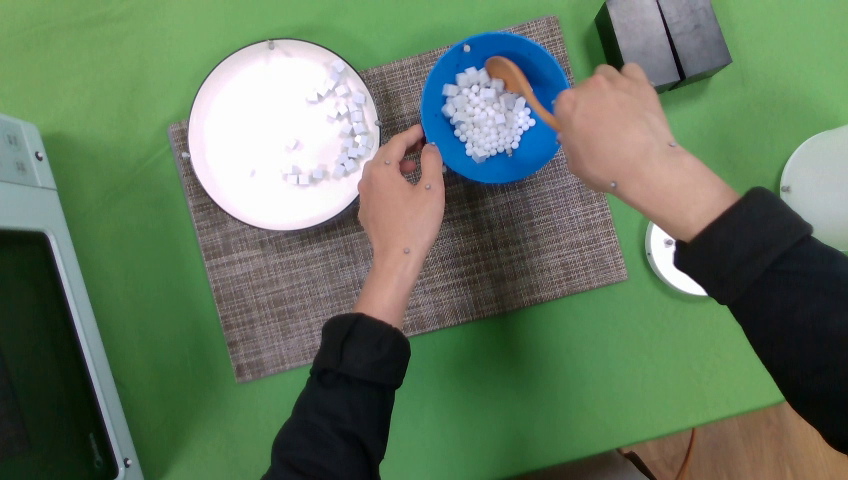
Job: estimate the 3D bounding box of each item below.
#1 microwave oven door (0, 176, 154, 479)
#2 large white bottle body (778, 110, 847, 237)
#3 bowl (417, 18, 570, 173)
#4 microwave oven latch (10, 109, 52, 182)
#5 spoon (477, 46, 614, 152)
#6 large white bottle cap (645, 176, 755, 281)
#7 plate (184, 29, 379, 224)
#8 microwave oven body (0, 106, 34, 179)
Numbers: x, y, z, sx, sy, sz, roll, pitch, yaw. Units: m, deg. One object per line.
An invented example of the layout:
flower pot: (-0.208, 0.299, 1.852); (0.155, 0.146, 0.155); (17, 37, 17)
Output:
microwave oven door: (-0.373, 0.109, 0.553); (0.039, 0.244, 0.355); (-18, 90, 2)
large white bottle body: (0.442, -0.069, 0.568); (0.130, 0.184, 0.130); (0, 90, 2)
bowl: (0.070, -0.140, 0.630); (0.151, 0.077, 0.151); (0, 91, 3)
microwave oven latch: (-0.433, -0.099, 0.654); (0.030, 0.029, 0.079); (-18, 91, 2)
spoon: (0.108, -0.132, 0.569); (0.021, 0.042, 0.191); (-34, 53, -3)
large white bottle cap: (0.299, -0.012, 0.657); (0.115, 0.018, 0.115); (0, 91, 1)
plate: (-0.151, -0.120, 0.658); (0.209, 0.038, 0.209); (0, 90, 2)
microwave oven body: (-0.525, 0.114, 0.563); (0.326, 0.260, 0.441); (-18, 90, 1)
